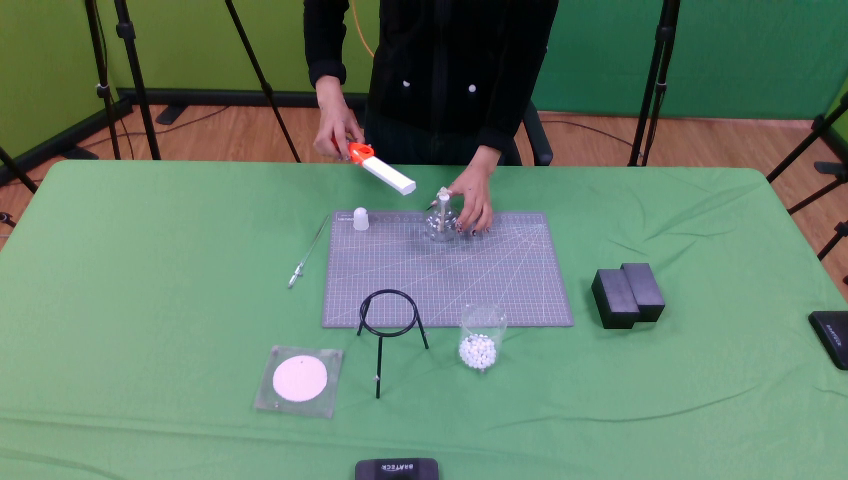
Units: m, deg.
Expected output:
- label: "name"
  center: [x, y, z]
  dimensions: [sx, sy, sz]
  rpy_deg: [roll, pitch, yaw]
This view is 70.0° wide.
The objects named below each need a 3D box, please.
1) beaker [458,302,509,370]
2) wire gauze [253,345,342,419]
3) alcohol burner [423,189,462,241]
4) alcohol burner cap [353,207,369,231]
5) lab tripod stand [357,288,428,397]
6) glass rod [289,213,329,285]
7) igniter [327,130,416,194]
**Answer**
- label: "beaker"
  center: [0.092, 0.159, 0.999]
  dimensions: [0.083, 0.101, 0.074]
  rpy_deg: [35, 53, 28]
- label: "wire gauze"
  center: [-0.200, 0.224, 0.979]
  dimensions: [0.125, 0.011, 0.121]
  rpy_deg: [7, 47, 0]
- label: "alcohol burner"
  center: [0.036, -0.055, 1.186]
  dimensions: [0.078, 0.120, 0.077]
  rpy_deg: [1, 48, -1]
- label: "alcohol burner cap"
  center: [-0.127, -0.046, 1.215]
  dimensions: [0.034, 0.048, 0.033]
  rpy_deg: [2, 47, -2]
- label: "lab tripod stand"
  center: [-0.058, 0.155, 0.967]
  dimensions: [0.148, 0.132, 0.147]
  rpy_deg: [3, 47, -3]
- label: "glass rod"
  center: [-0.221, 0.014, 1.179]
  dimensions: [0.008, 0.008, 0.199]
  rpy_deg: [12, 46, 8]
- label: "igniter"
  center: [-0.109, -0.156, 1.162]
  dimensions: [0.057, 0.025, 0.275]
  rpy_deg: [-30, 45, -26]
